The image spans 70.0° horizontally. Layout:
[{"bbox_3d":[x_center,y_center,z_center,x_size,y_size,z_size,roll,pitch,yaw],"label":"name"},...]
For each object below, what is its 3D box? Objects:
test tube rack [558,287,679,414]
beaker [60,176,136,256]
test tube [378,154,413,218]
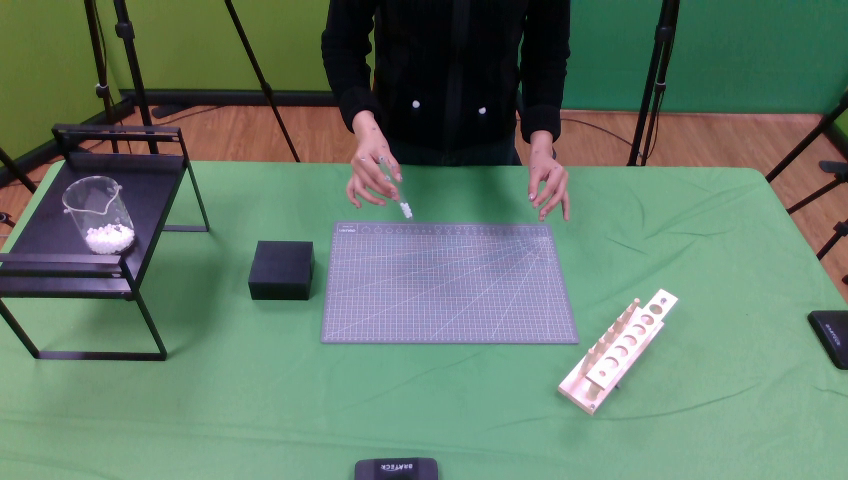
[{"bbox_3d":[0.326,0.170,1.009,0.066,0.085,0.242,35,54,26],"label":"test tube rack"},{"bbox_3d":[-0.471,-0.031,0.887,0.074,0.101,0.083,-31,56,-28],"label":"beaker"},{"bbox_3d":[-0.047,-0.090,1.045,0.017,0.151,0.017,-11,48,13],"label":"test tube"}]
